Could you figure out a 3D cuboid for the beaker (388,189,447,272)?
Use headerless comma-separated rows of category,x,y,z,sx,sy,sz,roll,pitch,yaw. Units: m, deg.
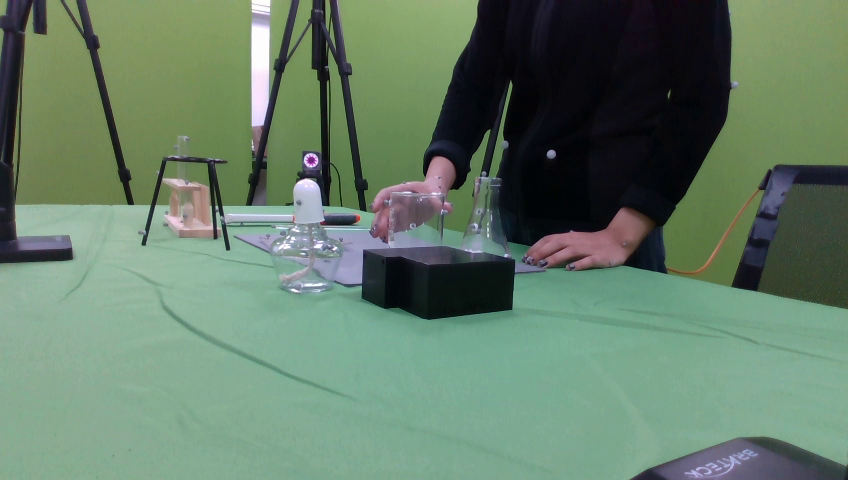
beaker,-0.010,-0.013,0.771,0.074,0.100,0.084,3,7,4

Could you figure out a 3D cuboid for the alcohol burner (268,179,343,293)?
alcohol burner,-0.124,-0.005,0.637,0.078,0.119,0.078,4,8,0

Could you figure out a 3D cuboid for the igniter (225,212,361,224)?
igniter,-0.262,-0.044,1.240,0.278,0.025,0.057,-2,-1,-31

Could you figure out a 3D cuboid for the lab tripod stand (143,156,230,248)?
lab tripod stand,-0.338,-0.058,0.908,0.148,0.131,0.148,4,7,0

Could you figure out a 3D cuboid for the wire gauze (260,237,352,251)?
wire gauze,-0.185,0.004,0.938,0.122,0.011,0.124,-1,6,-24

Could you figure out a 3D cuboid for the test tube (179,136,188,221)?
test tube,-0.425,-0.108,1.070,0.017,0.150,0.017,4,9,0

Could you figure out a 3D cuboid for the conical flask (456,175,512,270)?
conical flask,0.082,-0.025,0.801,0.075,0.122,0.075,2,7,0

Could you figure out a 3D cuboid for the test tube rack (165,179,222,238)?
test tube rack,-0.423,-0.062,1.098,0.067,0.085,0.241,-2,9,-28

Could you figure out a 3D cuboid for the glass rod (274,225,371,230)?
glass rod,-0.193,-0.024,1.177,0.201,0.008,0.008,1,7,-31

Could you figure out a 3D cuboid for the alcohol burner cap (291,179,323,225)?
alcohol burner cap,-0.124,-0.040,0.632,0.034,0.048,0.034,-3,10,1
